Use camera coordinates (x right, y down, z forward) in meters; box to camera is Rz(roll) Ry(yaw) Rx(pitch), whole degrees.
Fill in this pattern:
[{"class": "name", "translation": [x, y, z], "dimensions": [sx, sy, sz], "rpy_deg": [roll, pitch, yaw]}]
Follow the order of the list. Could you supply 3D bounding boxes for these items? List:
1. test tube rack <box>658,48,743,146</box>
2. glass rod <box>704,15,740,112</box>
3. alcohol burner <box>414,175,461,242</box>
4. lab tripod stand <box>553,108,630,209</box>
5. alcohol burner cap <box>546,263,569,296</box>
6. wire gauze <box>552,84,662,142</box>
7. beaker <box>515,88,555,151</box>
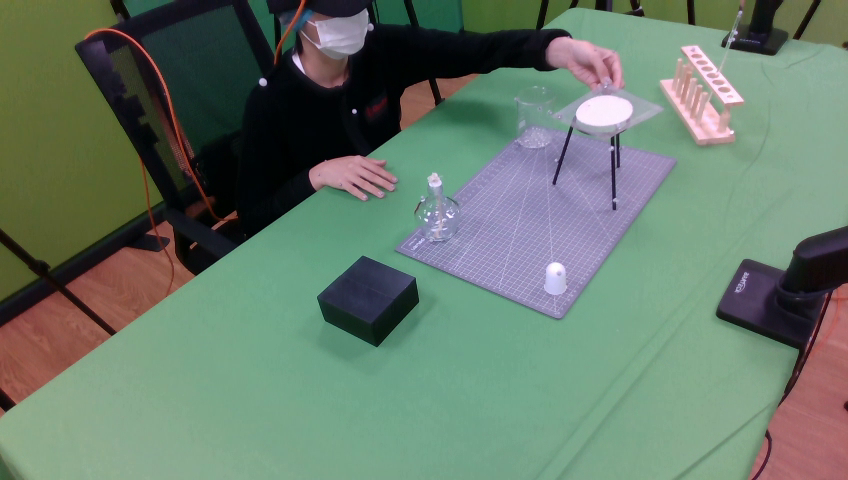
[{"class": "test tube rack", "translation": [0.532, -0.284, 1.180], "dimensions": [0.067, 0.085, 0.241], "rpy_deg": [-5, 40, 4]}, {"class": "glass rod", "translation": [0.549, -0.319, 1.117], "dimensions": [0.008, 0.200, 0.008], "rpy_deg": [-2, 47, 3]}, {"class": "alcohol burner", "translation": [0.020, -0.055, 0.963], "dimensions": [0.078, 0.119, 0.077], "rpy_deg": [-4, 42, 4]}, {"class": "lab tripod stand", "translation": [0.292, -0.144, 1.010], "dimensions": [0.148, 0.132, 0.147], "rpy_deg": [-5, 38, 4]}, {"class": "alcohol burner cap", "translation": [0.191, 0.053, 0.862], "dimensions": [0.034, 0.048, 0.033], "rpy_deg": [-5, 40, 4]}, {"class": "wire gauze", "translation": [0.289, -0.202, 0.963], "dimensions": [0.125, 0.011, 0.120], "rpy_deg": [-30, 45, -17]}, {"class": "beaker", "translation": [0.213, -0.230, 1.152], "dimensions": [0.073, 0.101, 0.084], "rpy_deg": [20, 47, 29]}]
